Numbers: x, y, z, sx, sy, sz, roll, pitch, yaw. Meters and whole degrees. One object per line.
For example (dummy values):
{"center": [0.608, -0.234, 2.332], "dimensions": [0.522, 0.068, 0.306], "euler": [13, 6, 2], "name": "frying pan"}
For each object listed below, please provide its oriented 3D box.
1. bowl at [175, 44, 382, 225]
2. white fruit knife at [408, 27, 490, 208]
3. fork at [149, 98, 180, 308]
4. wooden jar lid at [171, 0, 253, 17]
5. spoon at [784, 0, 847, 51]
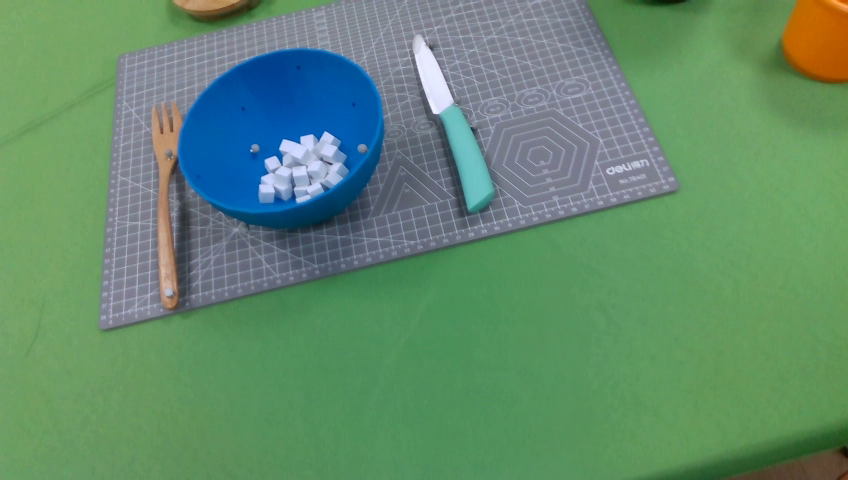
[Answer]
{"center": [-0.100, -0.067, 0.463], "dimensions": [0.151, 0.077, 0.150], "euler": [-3, 61, 7], "name": "bowl"}
{"center": [0.017, -0.112, 0.506], "dimensions": [0.027, 0.016, 0.205], "euler": [-10, 59, -13], "name": "white fruit knife"}
{"center": [-0.212, -0.038, 0.497], "dimensions": [0.028, 0.019, 0.205], "euler": [-12, 59, -6], "name": "fork"}
{"center": [-0.212, -0.270, 0.626], "dimensions": [0.108, 0.021, 0.107], "euler": [-2, 62, 5], "name": "wooden jar lid"}
{"center": [0.360, -0.199, 0.432], "dimensions": [0.022, 0.193, 0.041], "euler": [13, 58, -36], "name": "spoon"}
